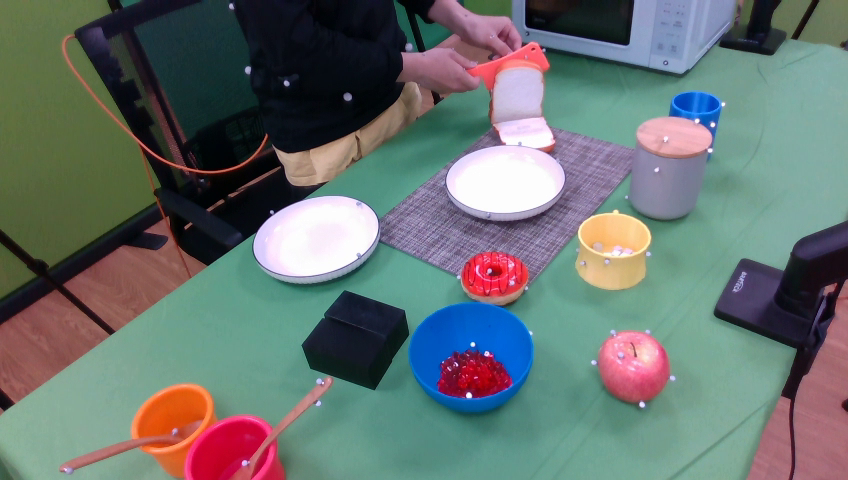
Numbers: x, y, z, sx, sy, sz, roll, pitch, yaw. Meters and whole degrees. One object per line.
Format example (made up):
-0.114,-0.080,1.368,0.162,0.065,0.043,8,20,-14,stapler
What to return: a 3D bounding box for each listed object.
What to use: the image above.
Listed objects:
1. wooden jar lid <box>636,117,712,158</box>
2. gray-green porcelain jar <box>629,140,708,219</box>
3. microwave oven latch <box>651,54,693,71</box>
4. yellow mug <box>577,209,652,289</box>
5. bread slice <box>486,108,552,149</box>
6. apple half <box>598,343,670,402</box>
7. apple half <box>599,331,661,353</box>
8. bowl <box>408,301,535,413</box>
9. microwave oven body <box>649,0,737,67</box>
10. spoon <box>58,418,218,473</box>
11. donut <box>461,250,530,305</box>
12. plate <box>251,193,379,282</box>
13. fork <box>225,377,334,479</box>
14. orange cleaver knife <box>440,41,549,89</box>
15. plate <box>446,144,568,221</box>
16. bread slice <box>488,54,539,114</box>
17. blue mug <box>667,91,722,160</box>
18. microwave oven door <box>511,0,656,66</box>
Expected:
0.377,-0.151,0.917,0.108,0.021,0.108,-2,42,3,wooden jar lid
0.383,-0.105,0.958,0.106,0.127,0.105,-4,41,4,gray-green porcelain jar
0.532,-0.386,1.301,0.078,0.029,0.030,26,51,34,microwave oven latch
0.279,0.004,0.893,0.099,0.064,0.130,5,41,15,yellow mug
0.186,-0.204,1.166,0.105,0.019,0.130,-19,41,0,bread slice
0.247,0.161,0.710,0.081,0.075,0.053,2,47,5,apple half
0.249,0.134,0.738,0.081,0.081,0.032,-2,46,7,apple half
0.060,0.156,0.739,0.151,0.077,0.150,-4,40,4,bowl
0.475,-0.602,1.411,0.438,0.261,0.327,23,50,32,microwave oven body
-0.304,0.221,0.661,0.041,0.195,0.021,20,93,27,spoon
0.103,0.053,0.872,0.099,0.048,0.098,-5,40,4,donut
-0.174,-0.001,0.984,0.209,0.038,0.208,-4,40,4,plate
-0.163,0.216,0.647,0.207,0.019,0.028,-49,42,16,fork
0.139,-0.335,1.195,0.211,0.078,0.012,-13,44,12,orange cleaver knife
0.142,-0.096,1.045,0.207,0.039,0.206,-4,40,4,plate
0.183,-0.318,1.231,0.107,0.135,0.018,-4,47,4,bread slice
0.474,-0.207,1.079,0.082,0.106,0.116,4,42,13,blue mug
0.351,-0.540,1.349,0.353,0.245,0.039,24,50,31,microwave oven door
